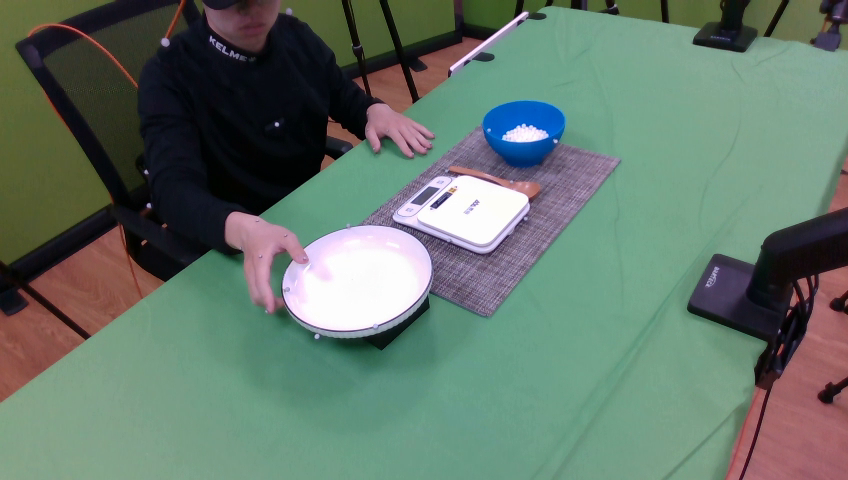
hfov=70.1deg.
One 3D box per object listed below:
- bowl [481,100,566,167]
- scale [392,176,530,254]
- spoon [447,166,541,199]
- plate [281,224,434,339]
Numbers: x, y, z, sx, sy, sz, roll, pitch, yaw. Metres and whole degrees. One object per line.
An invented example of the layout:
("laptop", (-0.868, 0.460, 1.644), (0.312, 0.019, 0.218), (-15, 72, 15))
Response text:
("bowl", (0.183, -0.187, 1.111), (0.151, 0.077, 0.150), (-4, 41, 4))
("scale", (0.060, -0.050, 1.006), (0.199, 0.032, 0.149), (22, 48, 30))
("spoon", (0.120, -0.107, 1.071), (0.192, 0.022, 0.041), (23, 64, 31))
("plate", (-0.088, 0.057, 0.825), (0.209, 0.038, 0.208), (-4, 40, 4))
